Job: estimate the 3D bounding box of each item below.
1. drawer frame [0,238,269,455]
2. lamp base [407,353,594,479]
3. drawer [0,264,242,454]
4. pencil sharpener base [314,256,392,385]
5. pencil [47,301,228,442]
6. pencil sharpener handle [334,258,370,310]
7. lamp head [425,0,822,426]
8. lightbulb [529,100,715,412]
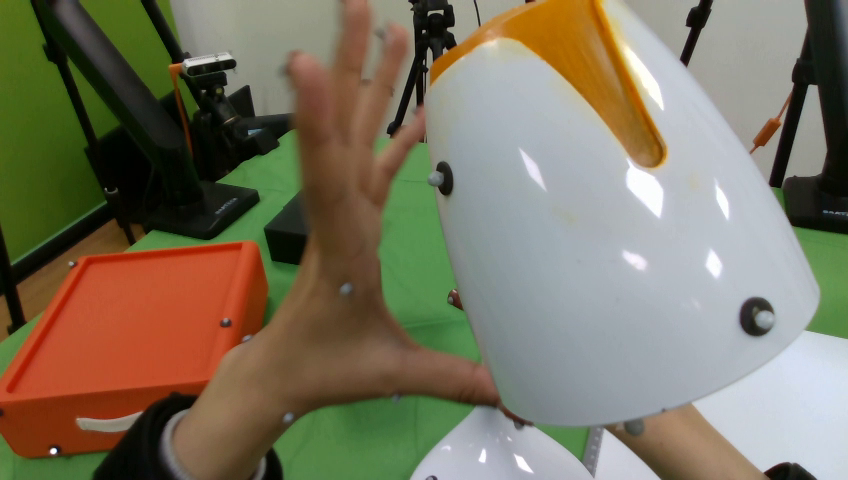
[{"bbox_3d":[-0.273,0.097,0.604,0.202,0.083,0.211,-7,34,-3],"label":"drawer frame"},{"bbox_3d":[0.051,0.140,0.425,0.161,0.182,0.177,-8,32,-4],"label":"lamp base"},{"bbox_3d":[-0.271,0.100,0.603,0.194,0.074,0.209,-6,33,-2],"label":"drawer"},{"bbox_3d":[-0.068,0.078,0.593,0.061,0.108,0.076,-6,34,-2],"label":"pencil sharpener base"},{"bbox_3d":[-0.267,0.120,0.579,0.012,0.012,0.194,27,57,37],"label":"pencil"},{"bbox_3d":[-0.074,0.039,0.627,0.036,0.068,0.030,-1,34,-6],"label":"pencil sharpener handle"},{"bbox_3d":[0.052,-0.018,0.209,0.112,0.123,0.112,-28,2,1],"label":"lamp head"},{"bbox_3d":[0.060,0.006,0.205,0.059,0.108,0.059,-17,9,3],"label":"lightbulb"}]
